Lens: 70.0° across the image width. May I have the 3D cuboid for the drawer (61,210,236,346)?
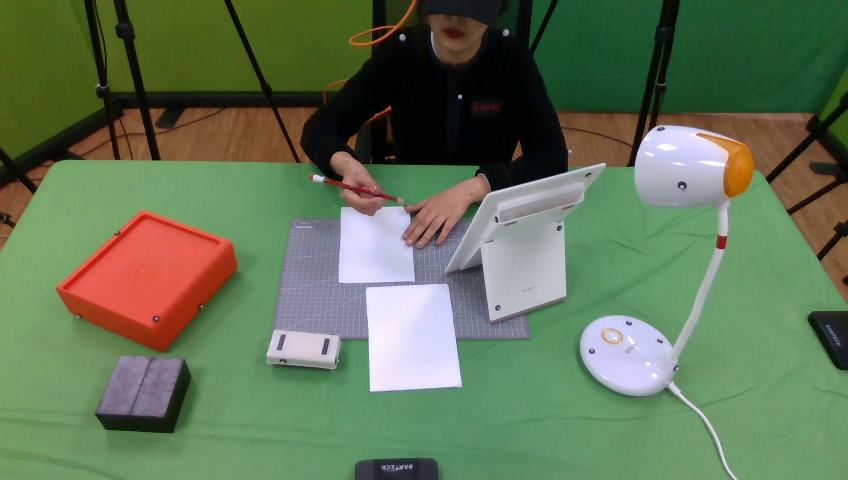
[{"bbox_3d":[-0.474,0.061,1.063,0.194,0.073,0.211,19,49,13],"label":"drawer"}]

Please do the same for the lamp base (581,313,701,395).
[{"bbox_3d":[0.361,0.144,0.973,0.178,0.181,0.160,34,53,23],"label":"lamp base"}]

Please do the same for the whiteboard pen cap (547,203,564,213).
[{"bbox_3d":[0.277,-0.066,1.275,0.033,0.018,0.018,-18,50,-15],"label":"whiteboard pen cap"}]

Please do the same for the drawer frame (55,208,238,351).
[{"bbox_3d":[-0.474,0.062,1.059,0.201,0.083,0.213,18,48,12],"label":"drawer frame"}]

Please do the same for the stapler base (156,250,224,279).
[{"bbox_3d":[-0.431,0.040,1.111,0.130,0.024,0.041,11,38,17],"label":"stapler base"}]

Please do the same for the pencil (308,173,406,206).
[{"bbox_3d":[-0.122,-0.091,1.097,0.194,0.012,0.012,18,48,12],"label":"pencil"}]

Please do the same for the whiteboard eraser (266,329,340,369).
[{"bbox_3d":[-0.198,0.181,0.994,0.113,0.042,0.055,5,45,1],"label":"whiteboard eraser"}]

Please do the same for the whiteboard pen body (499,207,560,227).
[{"bbox_3d":[0.222,-0.051,1.259,0.141,0.017,0.017,-15,49,-16],"label":"whiteboard pen body"}]

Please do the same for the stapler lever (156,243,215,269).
[{"bbox_3d":[-0.433,0.023,1.097,0.118,0.040,0.026,14,39,14],"label":"stapler lever"}]

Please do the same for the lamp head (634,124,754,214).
[{"bbox_3d":[0.351,-0.089,0.776,0.112,0.113,0.122,-30,30,-28],"label":"lamp head"}]

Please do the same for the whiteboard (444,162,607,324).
[{"bbox_3d":[0.186,0.025,1.029,0.217,0.306,0.143,-15,68,-18],"label":"whiteboard"}]
